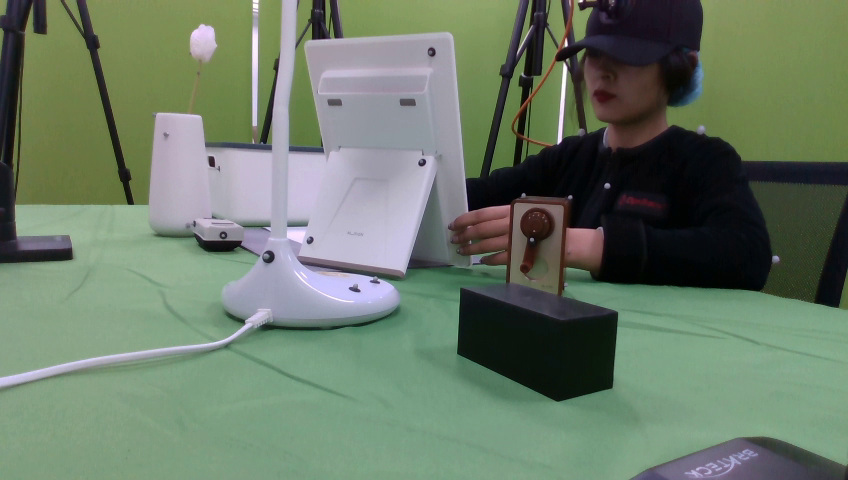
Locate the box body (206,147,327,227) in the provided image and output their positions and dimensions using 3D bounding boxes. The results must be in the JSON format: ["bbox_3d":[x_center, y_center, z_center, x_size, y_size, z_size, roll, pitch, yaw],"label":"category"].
[{"bbox_3d":[-0.276,-0.122,1.320,0.366,0.160,0.253,-2,9,-30],"label":"box body"}]

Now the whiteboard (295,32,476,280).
[{"bbox_3d":[-0.076,-0.083,0.747,0.216,0.305,0.144,7,28,29],"label":"whiteboard"}]

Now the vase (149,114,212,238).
[{"bbox_3d":[-0.405,-0.106,1.005,0.098,0.200,0.098,2,6,0],"label":"vase"}]

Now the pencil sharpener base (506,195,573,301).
[{"bbox_3d":[0.127,0.007,0.662,0.061,0.107,0.077,5,8,15],"label":"pencil sharpener base"}]

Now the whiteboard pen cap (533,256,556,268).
[{"bbox_3d":[0.167,0.031,0.839,0.018,0.018,0.033,-1,-2,-25],"label":"whiteboard pen cap"}]

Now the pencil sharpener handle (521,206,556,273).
[{"bbox_3d":[0.111,0.000,0.612,0.036,0.067,0.031,13,10,14],"label":"pencil sharpener handle"}]

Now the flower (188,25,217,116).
[{"bbox_3d":[-0.394,-0.189,1.011,0.044,0.361,0.038,-1,-13,27],"label":"flower"}]

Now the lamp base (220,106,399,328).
[{"bbox_3d":[-0.102,-0.023,0.531,0.160,0.180,0.179,4,10,10],"label":"lamp base"}]

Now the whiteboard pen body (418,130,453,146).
[{"bbox_3d":[0.015,-0.140,0.830,0.017,0.017,0.141,5,8,18],"label":"whiteboard pen body"}]

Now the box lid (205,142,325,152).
[{"bbox_3d":[-0.270,-0.196,1.310,0.373,0.015,0.262,-2,9,-30],"label":"box lid"}]

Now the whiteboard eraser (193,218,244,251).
[{"bbox_3d":[-0.307,-0.009,0.900,0.056,0.042,0.112,-3,10,-29],"label":"whiteboard eraser"}]
